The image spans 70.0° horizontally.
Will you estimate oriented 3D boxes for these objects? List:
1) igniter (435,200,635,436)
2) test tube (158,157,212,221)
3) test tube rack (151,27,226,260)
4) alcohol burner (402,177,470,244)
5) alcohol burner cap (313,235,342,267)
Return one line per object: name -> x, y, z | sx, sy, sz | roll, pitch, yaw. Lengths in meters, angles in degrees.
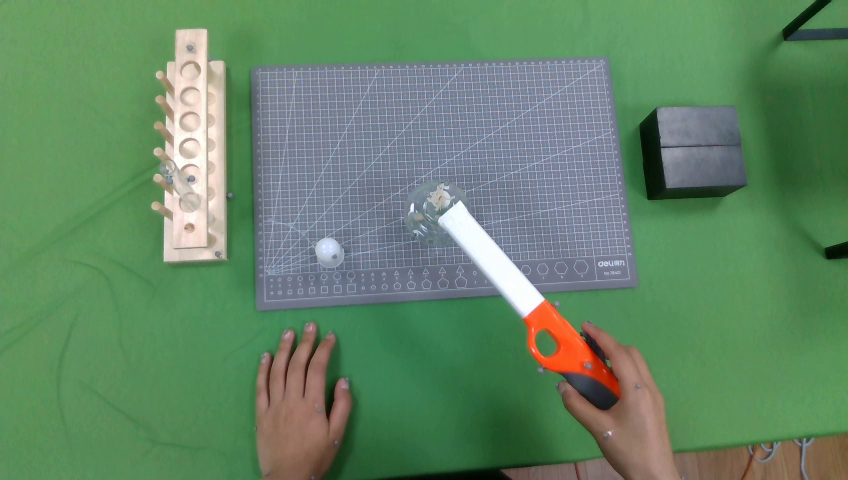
igniter -> 0.110, 0.075, 0.590 | 0.057, 0.025, 0.276 | -40, 88, -8
test tube -> -0.239, -0.048, 0.617 | 0.017, 0.151, 0.017 | 2, 74, -6
test tube rack -> -0.265, -0.105, 0.676 | 0.067, 0.085, 0.241 | -3, 80, -4
alcohol burner -> 0.014, -0.036, 0.668 | 0.078, 0.119, 0.077 | 1, 80, -3
alcohol burner cap -> -0.110, 0.010, 0.686 | 0.034, 0.048, 0.033 | 1, 78, -4
